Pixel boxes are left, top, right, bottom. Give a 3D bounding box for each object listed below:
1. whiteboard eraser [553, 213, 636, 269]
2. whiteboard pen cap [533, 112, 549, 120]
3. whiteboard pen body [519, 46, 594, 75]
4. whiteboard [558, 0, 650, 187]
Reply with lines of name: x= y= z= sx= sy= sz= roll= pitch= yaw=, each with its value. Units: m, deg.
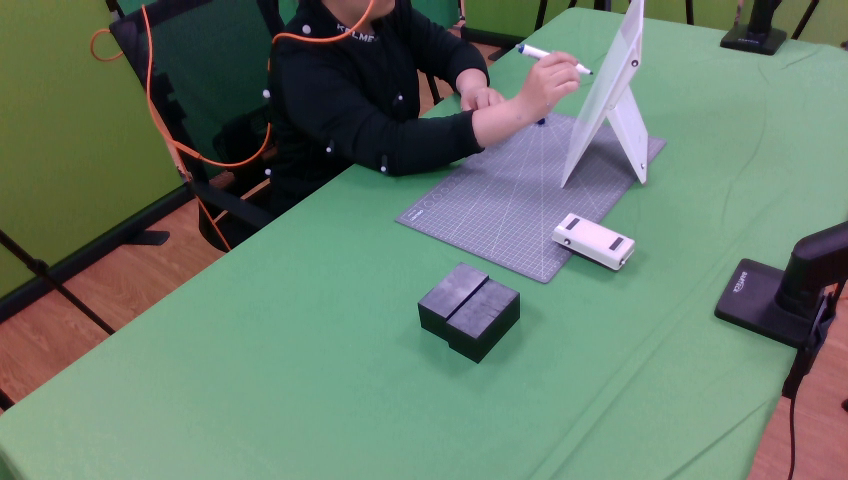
whiteboard eraser: x=0.258 y=0.003 z=0.918 sx=0.112 sy=0.042 sz=0.056 roll=27 pitch=49 yaw=30
whiteboard pen cap: x=0.239 y=-0.254 z=1.238 sx=0.018 sy=0.018 sz=0.033 roll=-29 pitch=27 yaw=-23
whiteboard pen body: x=0.228 y=-0.305 z=1.034 sx=0.141 sy=0.017 sz=0.017 roll=15 pitch=39 yaw=-12
whiteboard: x=0.362 y=-0.238 z=1.026 sx=0.144 sy=0.306 sz=0.217 roll=21 pitch=44 yaw=4
